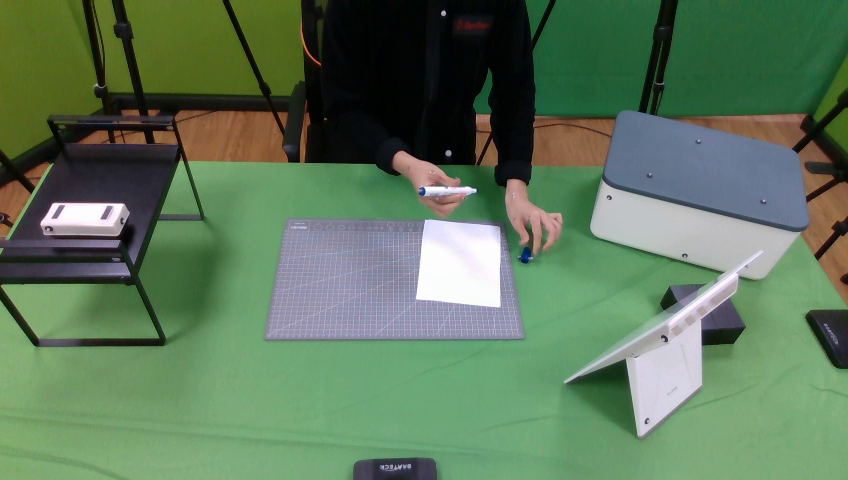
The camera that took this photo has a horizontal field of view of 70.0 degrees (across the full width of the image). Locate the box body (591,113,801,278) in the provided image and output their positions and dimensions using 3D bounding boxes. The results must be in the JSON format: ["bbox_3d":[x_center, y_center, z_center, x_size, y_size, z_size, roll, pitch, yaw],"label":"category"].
[{"bbox_3d":[0.540,-0.092,1.230,0.363,0.161,0.253,16,47,11],"label":"box body"}]

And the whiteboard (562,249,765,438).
[{"bbox_3d":[0.386,0.175,0.905,0.217,0.306,0.143,-26,72,-26],"label":"whiteboard"}]

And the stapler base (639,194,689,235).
[{"bbox_3d":[0.510,-0.059,1.278,0.041,0.024,0.129,0,39,-31],"label":"stapler base"}]

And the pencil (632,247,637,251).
[{"bbox_3d":[0.431,-0.060,1.284,0.012,0.012,0.193,3,56,-2],"label":"pencil"}]

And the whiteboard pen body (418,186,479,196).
[{"bbox_3d":[0.046,-0.086,1.056,0.141,0.017,0.017,-5,43,-40],"label":"whiteboard pen body"}]

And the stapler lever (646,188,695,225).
[{"bbox_3d":[0.516,-0.078,1.265,0.027,0.040,0.117,0,41,-31],"label":"stapler lever"}]

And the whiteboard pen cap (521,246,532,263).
[{"bbox_3d":[0.200,0.029,1.188,0.018,0.018,0.033,15,47,10],"label":"whiteboard pen cap"}]

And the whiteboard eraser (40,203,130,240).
[{"bbox_3d":[-0.513,-0.028,0.922,0.113,0.042,0.055,1,48,-3],"label":"whiteboard eraser"}]

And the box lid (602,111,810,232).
[{"bbox_3d":[0.545,-0.143,1.176,0.371,0.015,0.262,15,47,11],"label":"box lid"}]
